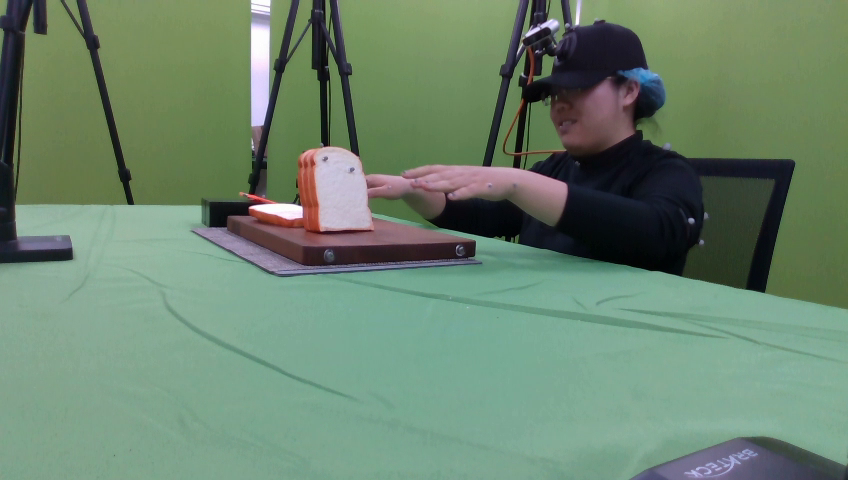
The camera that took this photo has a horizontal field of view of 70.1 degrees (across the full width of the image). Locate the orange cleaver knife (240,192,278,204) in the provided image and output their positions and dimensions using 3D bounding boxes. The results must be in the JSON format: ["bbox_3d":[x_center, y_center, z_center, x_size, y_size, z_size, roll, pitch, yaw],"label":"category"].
[{"bbox_3d":[-0.268,-0.064,1.235,0.212,0.012,0.077,17,-2,-26],"label":"orange cleaver knife"}]

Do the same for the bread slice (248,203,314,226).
[{"bbox_3d":[-0.228,-0.043,1.022,0.131,0.019,0.105,14,14,37],"label":"bread slice"}]

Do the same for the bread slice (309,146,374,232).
[{"bbox_3d":[-0.132,-0.077,0.927,0.018,0.134,0.107,-13,-4,42],"label":"bread slice"}]
